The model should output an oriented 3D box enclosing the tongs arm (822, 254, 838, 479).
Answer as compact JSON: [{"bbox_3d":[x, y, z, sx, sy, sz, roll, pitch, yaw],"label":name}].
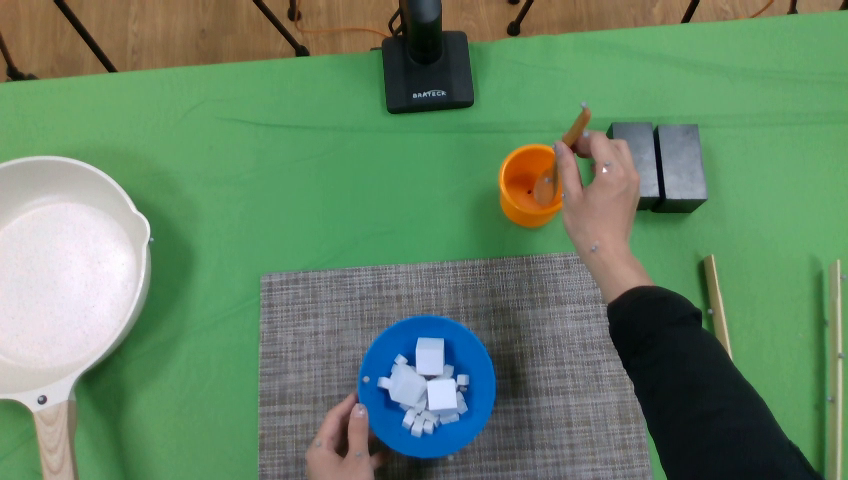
[{"bbox_3d":[0.447,0.201,0.695,0.051,0.026,0.383,7,76,5],"label":"tongs arm"}]

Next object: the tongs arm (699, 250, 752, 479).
[{"bbox_3d":[0.366,0.198,0.702,0.028,0.028,0.385,-5,75,-2],"label":"tongs arm"}]

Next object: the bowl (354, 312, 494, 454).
[{"bbox_3d":[0.001,0.162,0.686,0.151,0.077,0.150,0,75,1],"label":"bowl"}]

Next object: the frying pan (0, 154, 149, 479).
[{"bbox_3d":[-0.436,0.130,0.693,0.307,0.103,0.483,-20,67,-4],"label":"frying pan"}]

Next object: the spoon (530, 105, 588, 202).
[{"bbox_3d":[0.143,-0.089,0.654,0.021,0.195,0.041,-7,72,-3],"label":"spoon"}]
